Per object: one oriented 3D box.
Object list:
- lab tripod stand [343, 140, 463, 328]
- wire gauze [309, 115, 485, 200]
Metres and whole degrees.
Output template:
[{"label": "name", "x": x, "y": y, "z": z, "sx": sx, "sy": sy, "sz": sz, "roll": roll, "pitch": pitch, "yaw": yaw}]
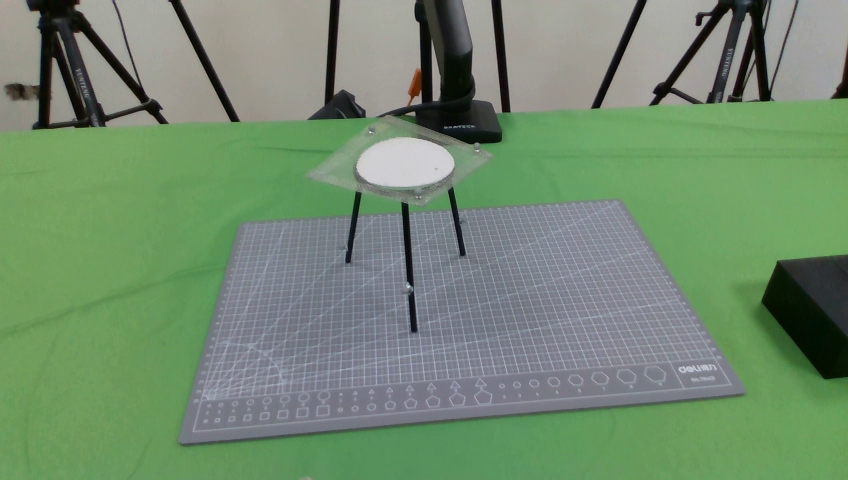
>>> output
[{"label": "lab tripod stand", "x": -0.018, "y": -0.013, "z": 0.567, "sx": 0.148, "sy": 0.132, "sz": 0.147, "roll": 1, "pitch": 37, "yaw": 0}, {"label": "wire gauze", "x": -0.017, "y": -0.077, "z": 0.514, "sx": 0.125, "sy": 0.011, "sz": 0.120, "roll": 14, "pitch": 34, "yaw": 6}]
